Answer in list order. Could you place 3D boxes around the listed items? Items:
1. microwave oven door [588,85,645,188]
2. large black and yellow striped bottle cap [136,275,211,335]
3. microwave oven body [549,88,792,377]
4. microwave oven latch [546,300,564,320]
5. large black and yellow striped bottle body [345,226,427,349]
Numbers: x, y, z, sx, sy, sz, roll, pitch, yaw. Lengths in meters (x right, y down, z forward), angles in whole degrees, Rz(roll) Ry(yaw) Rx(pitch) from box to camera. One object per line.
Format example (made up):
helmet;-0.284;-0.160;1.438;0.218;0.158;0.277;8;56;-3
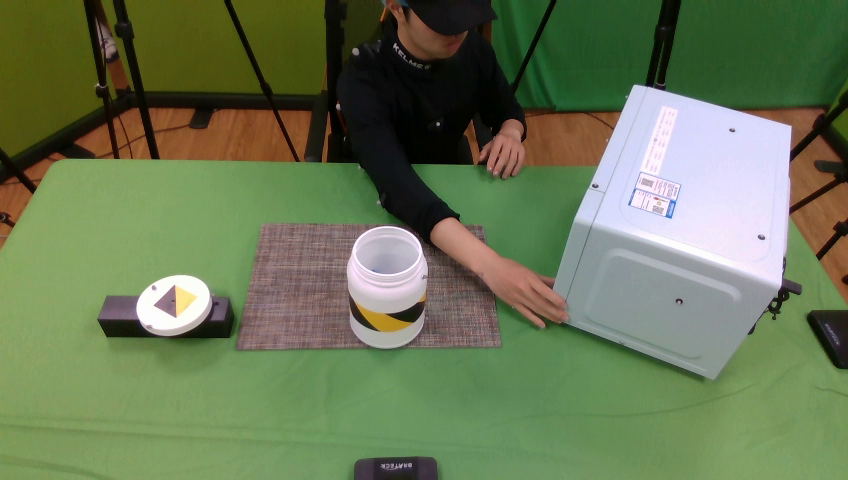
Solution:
microwave oven door;0.342;-0.107;1.149;0.039;0.245;0.354;20;48;15
large black and yellow striped bottle cap;-0.411;0.105;0.998;0.115;0.019;0.114;3;46;-3
microwave oven body;0.456;-0.028;1.088;0.325;0.261;0.440;20;47;16
microwave oven latch;0.246;0.106;1.077;0.030;0.029;0.079;31;51;25
large black and yellow striped bottle body;-0.062;0.078;0.998;0.131;0.185;0.130;2;46;-2
